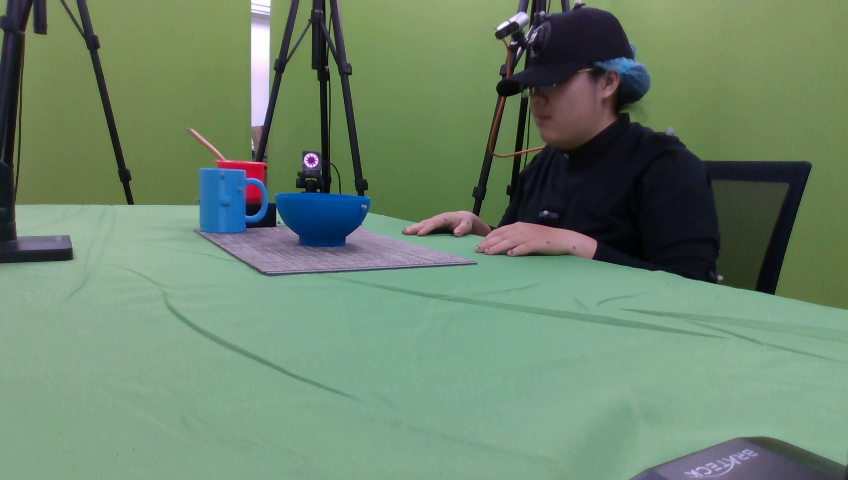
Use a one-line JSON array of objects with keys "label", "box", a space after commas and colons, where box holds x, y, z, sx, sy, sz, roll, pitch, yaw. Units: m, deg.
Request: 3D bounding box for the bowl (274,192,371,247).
[{"label": "bowl", "box": [-0.161, -0.032, 0.958, 0.151, 0.077, 0.151, 3, 7, 0]}]

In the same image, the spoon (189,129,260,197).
[{"label": "spoon", "box": [-0.389, -0.150, 1.174, 0.193, 0.021, 0.042, 48, 20, 6]}]

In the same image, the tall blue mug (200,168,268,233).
[{"label": "tall blue mug", "box": [-0.342, -0.071, 1.072, 0.077, 0.108, 0.108, 8, 9, 38]}]

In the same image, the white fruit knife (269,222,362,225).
[{"label": "white fruit knife", "box": [-0.221, -0.037, 1.261, 0.208, 0.016, 0.027, -4, -17, -31]}]
